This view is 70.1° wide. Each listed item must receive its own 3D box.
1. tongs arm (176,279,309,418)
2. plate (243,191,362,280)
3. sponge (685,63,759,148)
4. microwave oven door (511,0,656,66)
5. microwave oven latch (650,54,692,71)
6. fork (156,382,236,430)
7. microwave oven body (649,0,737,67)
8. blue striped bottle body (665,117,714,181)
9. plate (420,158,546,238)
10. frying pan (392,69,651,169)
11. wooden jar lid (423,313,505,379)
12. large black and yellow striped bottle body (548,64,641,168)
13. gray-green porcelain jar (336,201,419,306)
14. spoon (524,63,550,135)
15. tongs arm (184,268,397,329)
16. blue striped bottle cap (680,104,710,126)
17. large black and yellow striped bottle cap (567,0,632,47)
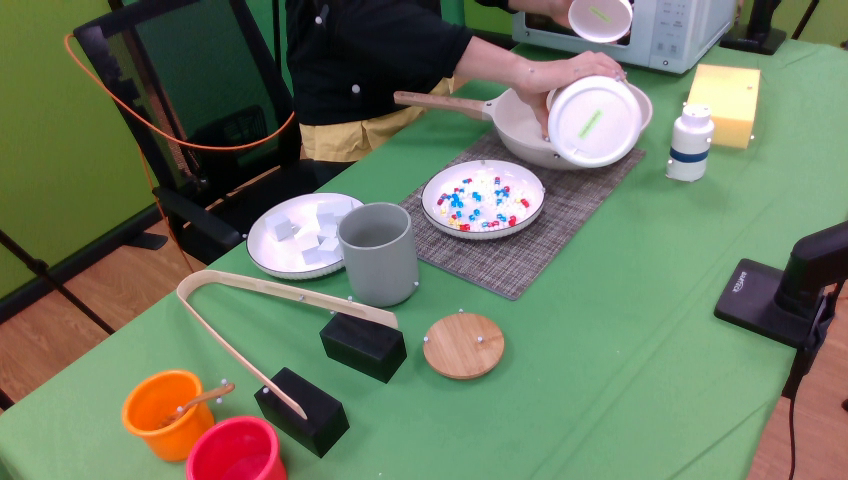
[{"bbox_3d":[-0.254,0.133,0.801,0.028,0.028,0.384,-41,40,-23],"label":"tongs arm"},{"bbox_3d":[-0.188,-0.005,0.992,0.207,0.039,0.206,-4,41,4],"label":"plate"},{"bbox_3d":[0.569,-0.263,1.164,0.117,0.061,0.207,12,45,22],"label":"sponge"},{"bbox_3d":[0.351,-0.540,1.349,0.353,0.245,0.039,24,50,31],"label":"microwave oven door"},{"bbox_3d":[0.530,-0.386,1.301,0.078,0.029,0.030,23,50,31],"label":"microwave oven latch"},{"bbox_3d":[-0.262,0.189,0.690,0.018,0.206,0.028,49,43,-7],"label":"fork"},{"bbox_3d":[0.475,-0.602,1.411,0.438,0.261,0.327,23,50,32],"label":"microwave oven body"},{"bbox_3d":[0.450,-0.165,1.022,0.063,0.121,0.063,-5,41,5],"label":"blue striped bottle body"},{"bbox_3d":[0.099,-0.067,1.017,0.209,0.038,0.208,-4,40,4],"label":"plate"},{"bbox_3d":[0.175,-0.249,1.166,0.487,0.103,0.306,12,43,9],"label":"frying pan"},{"bbox_3d":[0.053,0.142,0.800,0.108,0.021,0.108,-5,39,4],"label":"wooden jar lid"},{"bbox_3d":[0.262,-0.200,0.943,0.130,0.131,0.184,3,26,12],"label":"large black and yellow striped bottle body"},{"bbox_3d":[-0.064,0.024,0.872,0.106,0.127,0.105,-4,41,4],"label":"gray-green porcelain jar"},{"bbox_3d":[0.235,-0.282,1.203,0.041,0.022,0.192,-15,67,1],"label":"spoon"},{"bbox_3d":[-0.202,0.084,0.848,0.382,0.027,0.051,11,45,35],"label":"tongs arm"},{"bbox_3d":[0.443,-0.205,0.989,0.044,0.021,0.044,-1,41,1],"label":"blue striped bottle cap"},{"bbox_3d":[0.321,-0.410,1.106,0.114,0.115,0.019,10,51,19],"label":"large black and yellow striped bottle cap"}]
